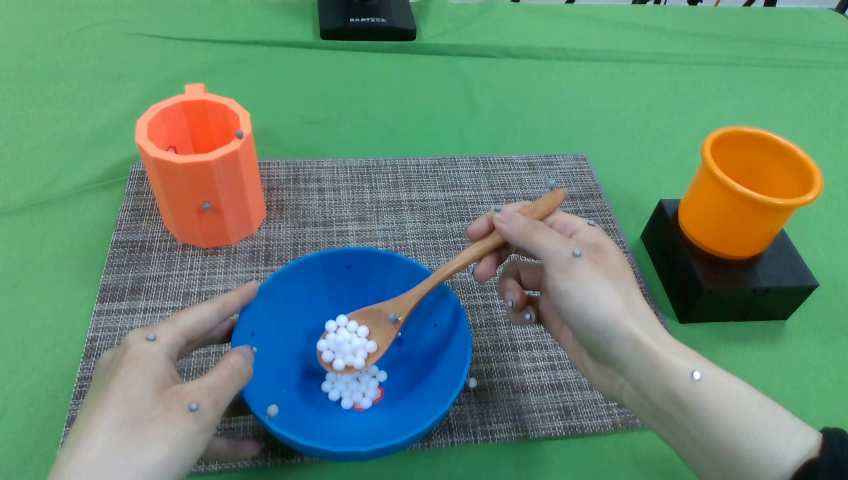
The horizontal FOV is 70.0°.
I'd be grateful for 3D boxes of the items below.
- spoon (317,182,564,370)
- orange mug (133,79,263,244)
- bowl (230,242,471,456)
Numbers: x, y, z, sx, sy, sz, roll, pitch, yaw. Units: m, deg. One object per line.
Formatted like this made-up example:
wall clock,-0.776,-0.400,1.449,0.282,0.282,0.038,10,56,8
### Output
spoon,0.010,0.023,0.394,0.194,0.022,0.041,-38,49,9
orange mug,-0.188,-0.074,0.512,0.084,0.101,0.125,-9,56,-14
bowl,-0.048,0.082,0.409,0.151,0.077,0.150,4,49,-4
